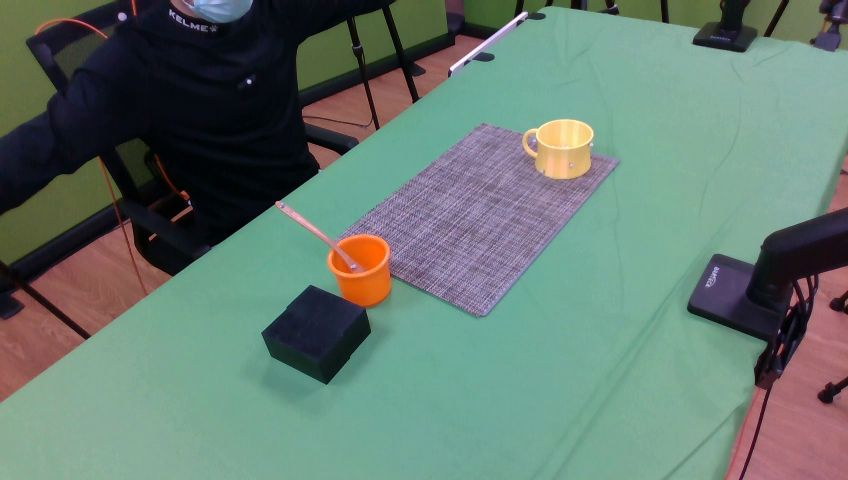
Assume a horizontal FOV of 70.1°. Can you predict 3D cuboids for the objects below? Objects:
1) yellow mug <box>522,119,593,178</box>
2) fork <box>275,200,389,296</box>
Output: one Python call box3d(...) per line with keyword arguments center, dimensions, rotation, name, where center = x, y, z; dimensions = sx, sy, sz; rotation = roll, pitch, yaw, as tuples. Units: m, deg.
box3d(center=(0.238, -0.170, 1.092), dimensions=(0.130, 0.064, 0.100), rotation=(17, 47, 27), name="yellow mug")
box3d(center=(-0.133, 0.011, 0.876), dimensions=(0.208, 0.018, 0.028), rotation=(42, 57, -11), name="fork")
